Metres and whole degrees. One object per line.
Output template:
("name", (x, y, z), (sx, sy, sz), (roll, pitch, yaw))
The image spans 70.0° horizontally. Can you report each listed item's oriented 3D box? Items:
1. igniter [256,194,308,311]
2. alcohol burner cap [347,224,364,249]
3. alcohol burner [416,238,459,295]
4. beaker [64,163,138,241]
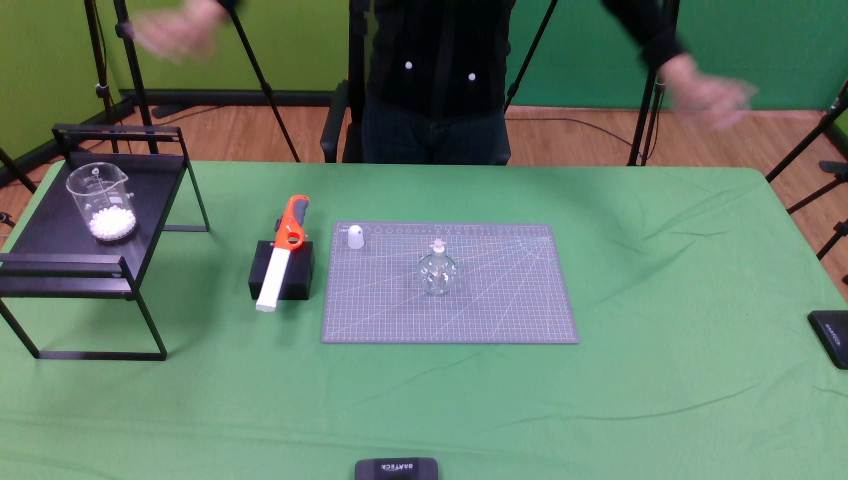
("igniter", (-0.254, 0.012, 1.096), (0.057, 0.025, 0.275), (13, 46, -8))
("alcohol burner cap", (-0.134, -0.011, 1.177), (0.034, 0.048, 0.033), (2, 47, -2))
("alcohol burner", (0.024, 0.042, 1.088), (0.078, 0.120, 0.077), (1, 46, 0))
("beaker", (-0.477, -0.055, 0.910), (0.084, 0.101, 0.073), (-9, 48, -13))
